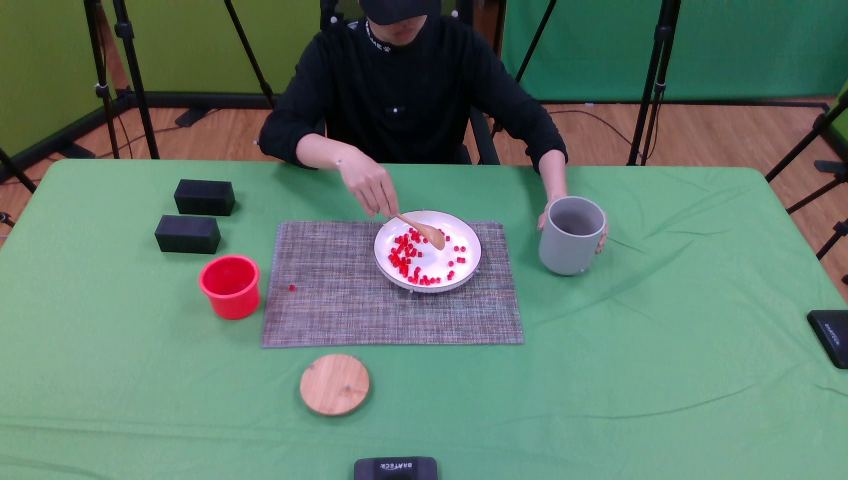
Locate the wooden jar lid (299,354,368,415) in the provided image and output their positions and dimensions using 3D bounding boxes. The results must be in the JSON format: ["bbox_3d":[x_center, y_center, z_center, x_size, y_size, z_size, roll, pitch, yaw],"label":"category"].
[{"bbox_3d":[-0.143,0.232,0.964,0.108,0.021,0.107,2,45,-2],"label":"wooden jar lid"}]

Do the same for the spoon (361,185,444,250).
[{"bbox_3d":[-0.039,-0.042,1.131,0.194,0.022,0.041,33,30,-8],"label":"spoon"}]

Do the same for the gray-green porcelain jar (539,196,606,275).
[{"bbox_3d":[0.276,-0.004,1.145,0.106,0.127,0.105,1,49,-1],"label":"gray-green porcelain jar"}]

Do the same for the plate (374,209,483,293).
[{"bbox_3d":[0.008,0.024,1.158,0.208,0.039,0.206,2,46,-2],"label":"plate"}]
